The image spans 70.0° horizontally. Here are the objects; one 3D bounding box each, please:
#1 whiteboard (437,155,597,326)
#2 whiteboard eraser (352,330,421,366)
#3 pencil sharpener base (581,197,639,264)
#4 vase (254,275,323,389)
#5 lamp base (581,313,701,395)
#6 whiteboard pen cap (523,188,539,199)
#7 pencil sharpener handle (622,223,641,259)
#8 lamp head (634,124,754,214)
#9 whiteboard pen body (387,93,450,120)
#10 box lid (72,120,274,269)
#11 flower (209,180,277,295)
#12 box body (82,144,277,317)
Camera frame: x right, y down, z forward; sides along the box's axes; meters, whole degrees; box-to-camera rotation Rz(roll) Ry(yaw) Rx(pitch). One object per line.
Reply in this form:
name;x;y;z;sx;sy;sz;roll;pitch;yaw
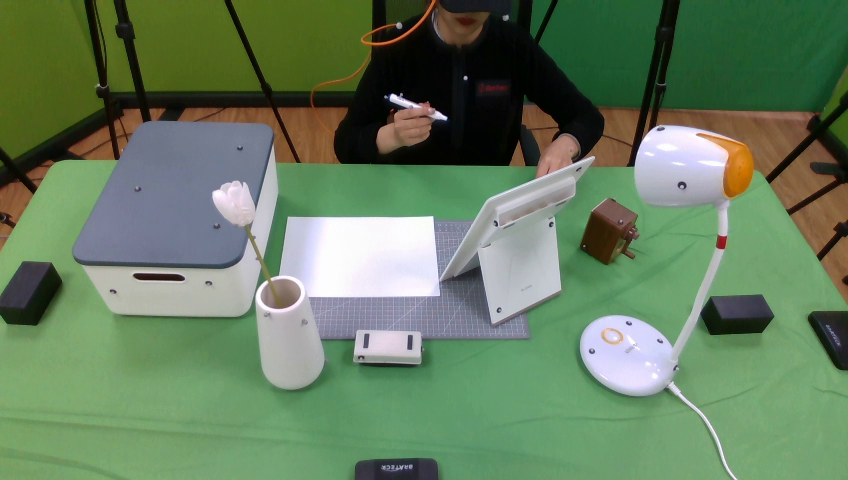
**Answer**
whiteboard;0.180;0.023;1.029;0.217;0.306;0.143;-21;70;-23
whiteboard eraser;-0.061;0.180;1.005;0.113;0.042;0.055;3;48;-3
pencil sharpener base;0.362;-0.017;1.179;0.076;0.107;0.061;37;54;27
vase;-0.209;0.143;0.921;0.098;0.201;0.097;1;46;-1
lamp base;0.361;0.144;0.972;0.178;0.181;0.160;34;53;23
whiteboard pen cap;0.226;-0.099;1.281;0.033;0.018;0.018;21;46;-5
pencil sharpener handle;0.397;0.003;1.146;0.030;0.068;0.036;37;46;27
lamp head;0.351;-0.089;0.775;0.112;0.113;0.122;-30;30;-28
whiteboard pen body;-0.010;-0.268;1.226;0.140;0.017;0.017;23;49;12
box lid;-0.417;-0.094;1.056;0.263;0.015;0.369;1;47;-3
flower;-0.217;0.075;0.871;0.044;0.363;0.038;-28;36;-19
box body;-0.421;-0.041;1.108;0.254;0.161;0.361;2;46;-3
